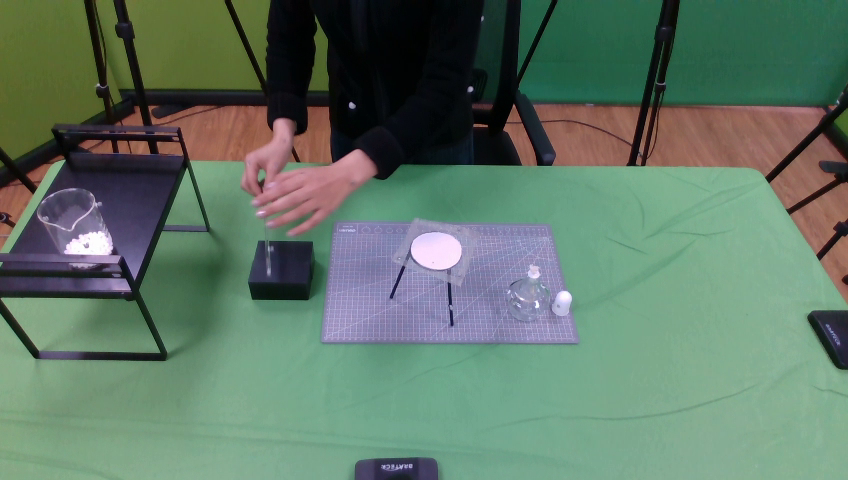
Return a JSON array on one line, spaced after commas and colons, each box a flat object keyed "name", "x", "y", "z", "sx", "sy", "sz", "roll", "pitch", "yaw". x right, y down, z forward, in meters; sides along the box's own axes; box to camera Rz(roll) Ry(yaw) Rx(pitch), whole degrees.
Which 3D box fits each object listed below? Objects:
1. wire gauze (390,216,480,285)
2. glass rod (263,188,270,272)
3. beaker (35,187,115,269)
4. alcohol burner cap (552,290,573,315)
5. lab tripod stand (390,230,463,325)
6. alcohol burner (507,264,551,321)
[{"name": "wire gauze", "x": 0.020, "y": 0.012, "z": 1.009, "sx": 0.125, "sy": 0.011, "sz": 0.121, "roll": 16, "pitch": 47, "yaw": 12}, {"name": "glass rod", "x": -0.276, "y": -0.022, "z": 1.062, "sx": 0.008, "sy": 0.008, "sz": 0.198, "roll": -7, "pitch": 50, "yaw": -10}, {"name": "beaker", "x": -0.494, "y": -0.012, "z": 0.867, "sx": 0.074, "sy": 0.101, "sz": 0.083, "roll": -17, "pitch": 50, "yaw": -18}, {"name": "alcohol burner cap", "x": 0.251, "y": 0.109, "z": 1.088, "sx": 0.034, "sy": 0.048, "sz": 0.033, "roll": 3, "pitch": 47, "yaw": -2}, {"name": "lab tripod stand", "x": 0.014, "y": 0.060, "z": 1.056, "sx": 0.148, "sy": 0.132, "sz": 0.147, "roll": 1, "pitch": 48, "yaw": -1}, {"name": "alcohol burner", "x": 0.185, "y": 0.086, "z": 1.056, "sx": 0.078, "sy": 0.120, "sz": 0.077, "roll": 1, "pitch": 47, "yaw": 0}]
